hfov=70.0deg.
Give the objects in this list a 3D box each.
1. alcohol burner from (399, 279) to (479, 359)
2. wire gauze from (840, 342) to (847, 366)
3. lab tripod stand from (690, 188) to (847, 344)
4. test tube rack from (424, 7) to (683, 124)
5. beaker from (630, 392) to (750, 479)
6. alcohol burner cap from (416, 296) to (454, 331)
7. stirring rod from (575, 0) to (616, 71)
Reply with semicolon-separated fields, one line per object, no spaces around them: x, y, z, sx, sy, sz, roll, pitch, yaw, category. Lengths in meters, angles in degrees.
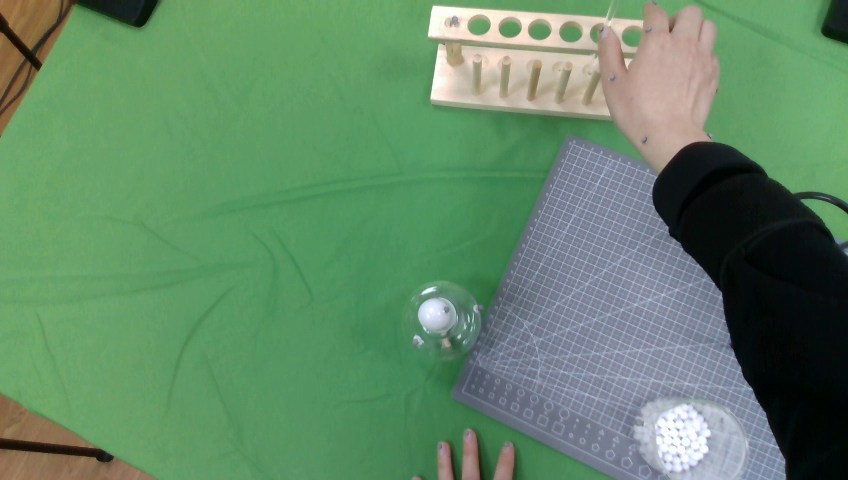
0.013;0.072;0.567;0.078;0.119;0.077;-1;77;4;alcohol burner
0.467;0.091;0.565;0.125;0.011;0.121;28;83;8;wire gauze
0.309;0.019;0.531;0.148;0.132;0.148;-1;81;5;lab tripod stand
0.124;-0.176;0.615;0.242;0.085;0.066;7;80;7;test tube rack
0.222;0.169;0.530;0.083;0.101;0.074;30;83;12;beaker
0.008;0.064;0.532;0.034;0.048;0.034;-1;82;7;alcohol burner cap
0.161;-0.207;0.536;0.014;0.177;0.006;31;71;11;stirring rod
